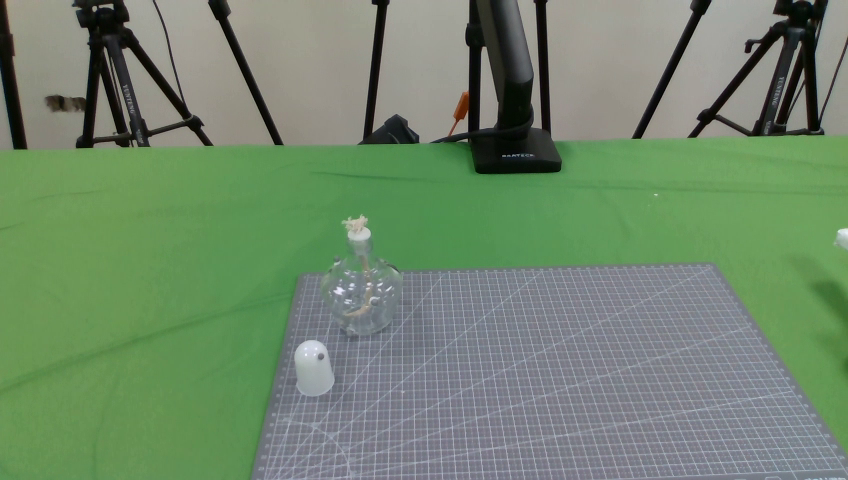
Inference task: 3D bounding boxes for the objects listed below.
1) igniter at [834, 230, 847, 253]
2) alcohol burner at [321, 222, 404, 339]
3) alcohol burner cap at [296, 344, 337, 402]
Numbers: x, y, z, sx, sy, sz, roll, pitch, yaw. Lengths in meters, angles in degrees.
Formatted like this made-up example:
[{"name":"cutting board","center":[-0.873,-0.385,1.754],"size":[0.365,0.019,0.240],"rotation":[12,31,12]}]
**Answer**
[{"name":"igniter","center":[0.447,0.064,0.503],"size":[0.057,0.025,0.274],"rotation":[-3,30,-4]},{"name":"alcohol burner","center":[-0.057,0.033,0.557],"size":[0.078,0.120,0.077],"rotation":[1,36,0]},{"name":"alcohol burner cap","center":[-0.092,0.109,0.510],"size":[0.034,0.048,0.033],"rotation":[0,35,0]}]
